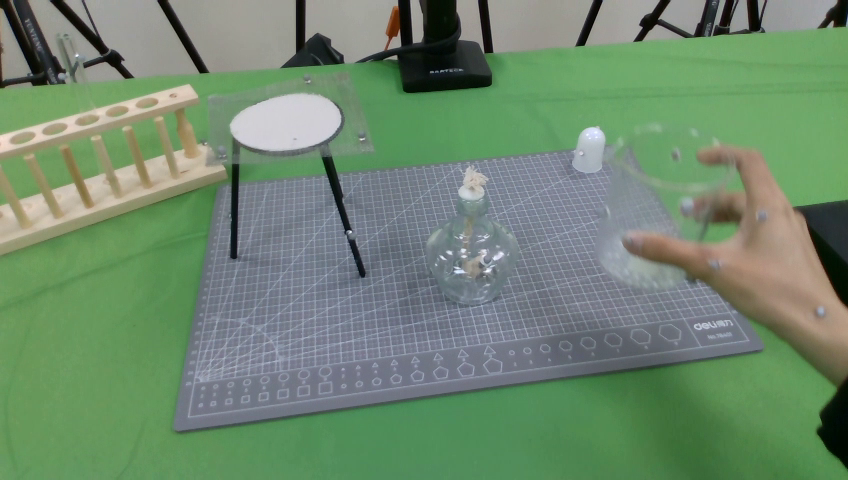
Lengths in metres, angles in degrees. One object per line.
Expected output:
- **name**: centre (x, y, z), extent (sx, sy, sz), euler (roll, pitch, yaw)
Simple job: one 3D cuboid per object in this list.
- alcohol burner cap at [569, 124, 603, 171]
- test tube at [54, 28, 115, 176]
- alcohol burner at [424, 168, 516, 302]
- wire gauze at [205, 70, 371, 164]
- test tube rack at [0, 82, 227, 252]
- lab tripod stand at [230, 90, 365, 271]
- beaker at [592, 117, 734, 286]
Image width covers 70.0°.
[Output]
- **alcohol burner cap**: centre (0.175, -0.102, 0.649), extent (0.034, 0.048, 0.033), euler (-1, 42, 1)
- **test tube**: centre (-0.329, -0.129, 0.590), extent (0.017, 0.151, 0.017), euler (2, 36, -1)
- **alcohol burner**: centre (0.038, -0.007, 0.494), extent (0.078, 0.120, 0.077), euler (-1, 40, 1)
- **wire gauze**: centre (-0.113, -0.100, 0.486), extent (0.125, 0.011, 0.120), euler (-11, 43, -9)
- **test tube rack**: centre (-0.335, -0.075, 0.605), extent (0.243, 0.086, 0.066), euler (-23, 46, -23)
- **lab tripod stand**: centre (-0.111, -0.050, 0.531), extent (0.148, 0.133, 0.147), euler (-1, 44, 1)
- **beaker**: centre (0.158, -0.023, 0.425), extent (0.084, 0.101, 0.073), euler (4, 43, 6)
